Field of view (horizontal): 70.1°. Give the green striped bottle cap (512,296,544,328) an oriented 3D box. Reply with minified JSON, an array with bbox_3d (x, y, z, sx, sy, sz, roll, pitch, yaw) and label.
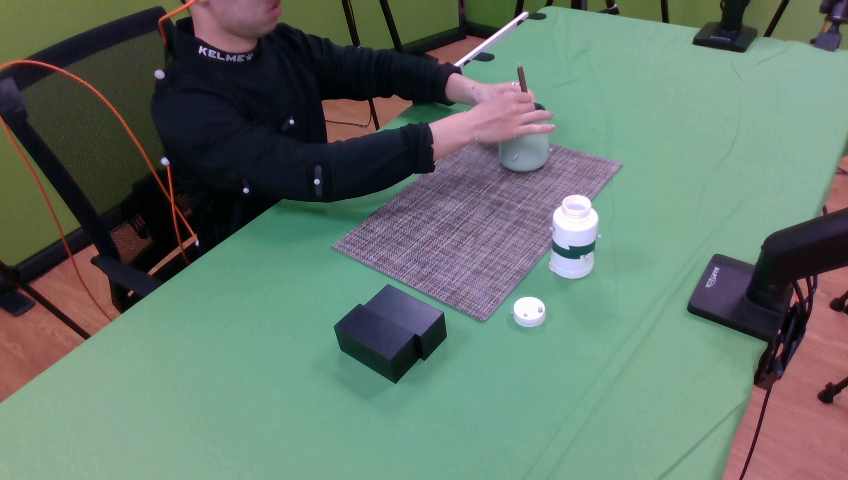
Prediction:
[{"bbox_3d":[0.144,0.099,0.837,0.044,0.020,0.044,-1,43,2],"label":"green striped bottle cap"}]

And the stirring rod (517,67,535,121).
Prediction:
[{"bbox_3d":[0.188,-0.219,1.063,0.006,0.177,0.014,6,39,39],"label":"stirring rod"}]

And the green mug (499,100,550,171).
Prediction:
[{"bbox_3d":[0.183,-0.197,1.101,0.092,0.105,0.125,1,41,9],"label":"green mug"}]

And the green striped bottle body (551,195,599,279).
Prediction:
[{"bbox_3d":[0.217,-0.007,0.870,0.063,0.120,0.063,-4,41,4],"label":"green striped bottle body"}]
